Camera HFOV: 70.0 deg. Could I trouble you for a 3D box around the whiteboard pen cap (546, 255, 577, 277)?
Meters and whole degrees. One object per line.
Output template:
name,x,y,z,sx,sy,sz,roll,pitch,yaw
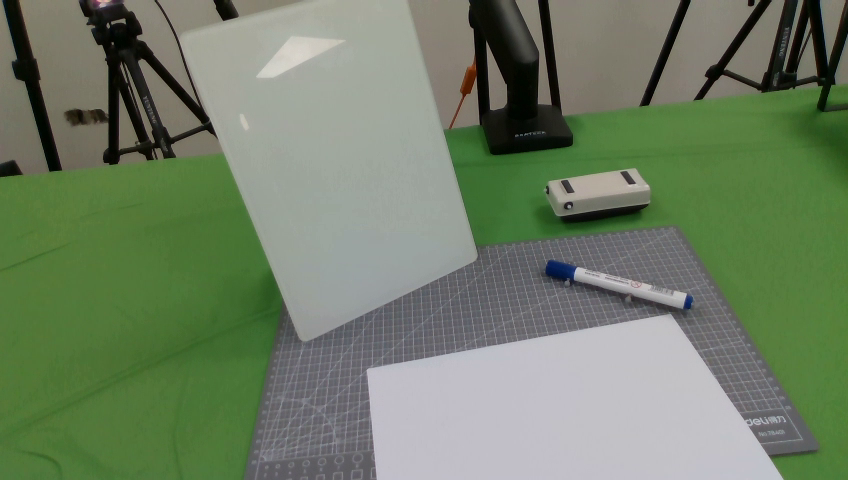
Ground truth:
whiteboard pen cap,0.147,0.029,0.639,0.033,0.018,0.018,17,43,25

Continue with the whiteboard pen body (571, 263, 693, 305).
whiteboard pen body,0.196,0.041,0.611,0.140,0.017,0.017,14,42,27

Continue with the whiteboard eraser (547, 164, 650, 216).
whiteboard eraser,0.209,-0.058,0.728,0.113,0.042,0.055,-8,39,-2

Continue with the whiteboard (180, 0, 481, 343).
whiteboard,-0.099,-0.088,0.648,0.217,0.307,0.142,-24,20,-21
